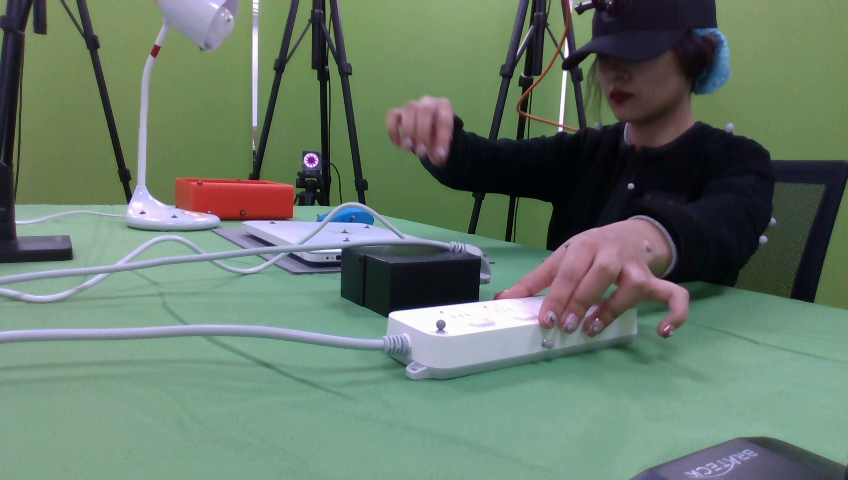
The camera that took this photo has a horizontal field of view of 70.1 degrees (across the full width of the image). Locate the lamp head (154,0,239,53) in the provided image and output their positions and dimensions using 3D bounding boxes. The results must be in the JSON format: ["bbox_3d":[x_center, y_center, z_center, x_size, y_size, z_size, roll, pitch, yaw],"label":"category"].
[{"bbox_3d":[-0.406,-0.402,1.059,0.123,0.112,0.112,25,5,-6],"label":"lamp head"}]

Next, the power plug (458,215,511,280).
[{"bbox_3d":[0.063,0.010,0.622,0.053,0.072,0.035,-8,40,0],"label":"power plug"}]

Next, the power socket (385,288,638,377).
[{"bbox_3d":[0.074,0.064,0.462,0.228,0.032,0.072,-3,8,-34],"label":"power socket"}]

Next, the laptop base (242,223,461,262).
[{"bbox_3d":[-0.126,0.003,0.945,0.237,0.023,0.352,2,6,-31],"label":"laptop base"}]

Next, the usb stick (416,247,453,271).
[{"bbox_3d":[0.009,0.024,0.755,0.027,0.021,0.059,37,-18,-17],"label":"usb stick"}]

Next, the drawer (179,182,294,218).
[{"bbox_3d":[-0.420,-0.091,1.354,0.213,0.073,0.193,-3,10,-31],"label":"drawer"}]

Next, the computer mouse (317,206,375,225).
[{"bbox_3d":[-0.163,-0.048,1.264,0.118,0.041,0.062,-6,12,-28],"label":"computer mouse"}]

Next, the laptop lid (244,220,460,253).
[{"bbox_3d":[-0.124,-0.009,0.945,0.243,0.013,0.355,1,7,-29],"label":"laptop lid"}]

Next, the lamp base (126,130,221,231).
[{"bbox_3d":[-0.469,-0.112,1.108,0.179,0.180,0.160,0,7,3],"label":"lamp base"}]

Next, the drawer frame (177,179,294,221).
[{"bbox_3d":[-0.422,-0.092,1.352,0.215,0.082,0.200,-3,10,-32],"label":"drawer frame"}]
